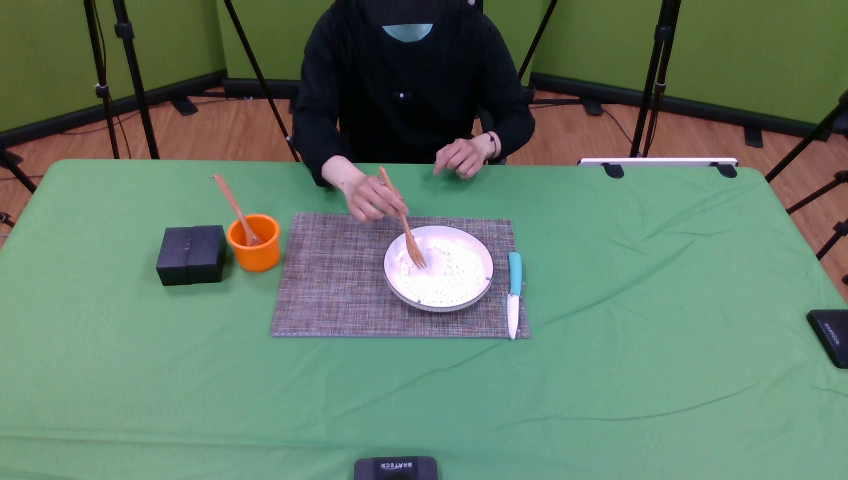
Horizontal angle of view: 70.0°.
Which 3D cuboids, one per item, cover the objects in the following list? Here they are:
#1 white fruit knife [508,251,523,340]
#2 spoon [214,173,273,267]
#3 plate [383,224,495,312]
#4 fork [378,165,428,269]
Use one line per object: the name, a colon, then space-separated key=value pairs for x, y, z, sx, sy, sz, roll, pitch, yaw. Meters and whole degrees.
white fruit knife: x=0.169 y=0.098 z=1.113 sx=0.027 sy=0.016 sz=0.206 roll=-13 pitch=43 yaw=23
spoon: x=-0.336 y=-0.037 z=1.121 sx=0.041 sy=0.194 sz=0.021 roll=-29 pitch=10 yaw=-24
plate: x=0.026 y=0.055 z=1.128 sx=0.209 sy=0.038 sz=0.208 roll=2 pitch=46 yaw=-2
fork: x=-0.041 y=-0.042 z=1.119 sx=0.028 sy=0.207 sz=0.018 roll=-20 pitch=3 yaw=37
